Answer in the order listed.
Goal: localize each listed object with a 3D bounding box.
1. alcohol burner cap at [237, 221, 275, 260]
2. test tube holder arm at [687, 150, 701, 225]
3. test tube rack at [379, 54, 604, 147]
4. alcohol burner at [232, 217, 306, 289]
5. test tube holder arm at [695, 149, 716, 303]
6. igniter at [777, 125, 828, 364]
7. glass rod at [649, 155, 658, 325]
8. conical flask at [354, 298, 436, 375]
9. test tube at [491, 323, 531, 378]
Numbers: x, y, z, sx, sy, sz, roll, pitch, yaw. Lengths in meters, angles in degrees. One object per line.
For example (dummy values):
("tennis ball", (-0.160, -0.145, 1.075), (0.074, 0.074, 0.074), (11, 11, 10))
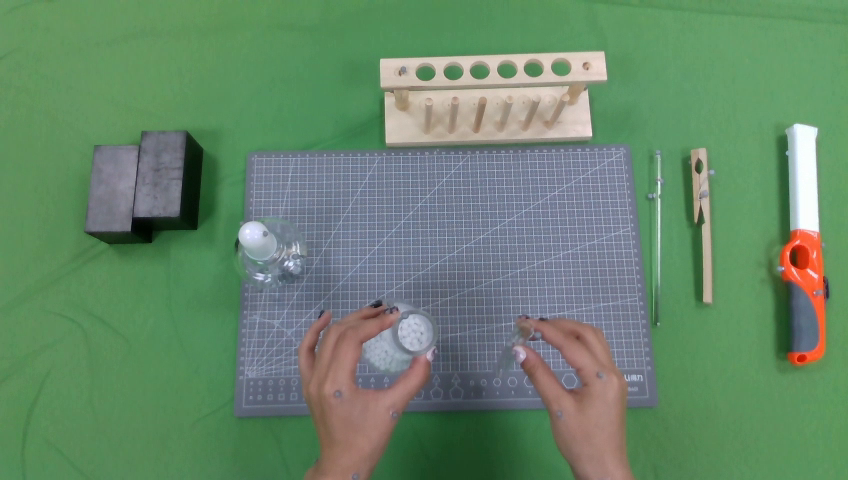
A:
("alcohol burner cap", (-0.166, -0.002, 0.594), (0.034, 0.048, 0.033), (1, 71, -4))
("test tube holder arm", (0.314, -0.060, 0.701), (0.010, 0.015, 0.087), (-8, 74, 35))
("test tube rack", (0.073, -0.156, 0.688), (0.242, 0.085, 0.066), (-2, 76, -1))
("alcohol burner", (-0.166, 0.009, 0.629), (0.078, 0.120, 0.077), (-1, 75, 2))
("test tube holder arm", (0.318, -0.017, 0.687), (0.013, 0.015, 0.177), (-10, 73, 35))
("igniter", (0.423, 0.001, 0.679), (0.057, 0.025, 0.275), (9, 76, -8))
("glass rod", (0.261, -0.002, 0.690), (0.008, 0.008, 0.199), (5, 78, 1))
("conical flask", (-0.020, 0.085, 0.542), (0.075, 0.122, 0.075), (2, 80, -13))
("test tube", (0.077, 0.104, 0.555), (0.017, 0.151, 0.017), (1, 65, -1))
